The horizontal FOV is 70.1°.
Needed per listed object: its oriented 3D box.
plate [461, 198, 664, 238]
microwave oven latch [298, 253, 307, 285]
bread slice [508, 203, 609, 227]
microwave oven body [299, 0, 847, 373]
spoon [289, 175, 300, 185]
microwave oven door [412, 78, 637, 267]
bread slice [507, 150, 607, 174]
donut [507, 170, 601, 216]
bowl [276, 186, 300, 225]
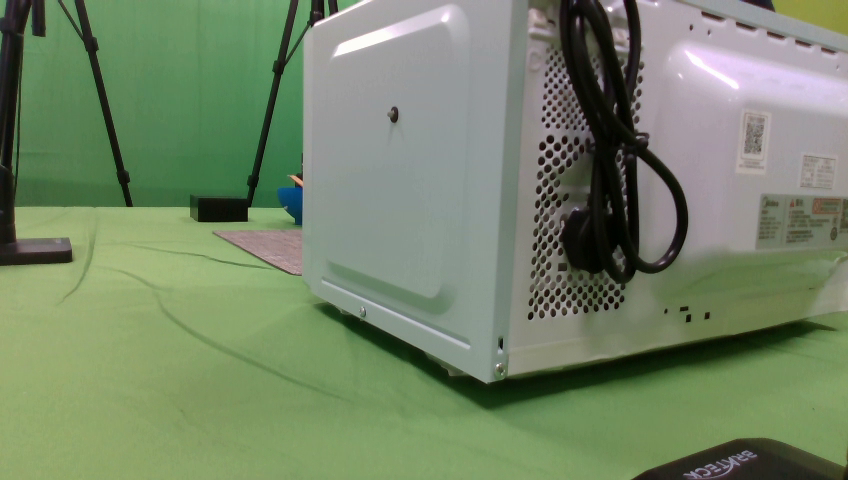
[{"bbox_3d":[0.143,-0.024,0.639,0.208,0.039,0.207,-1,3,0],"label":"plate"},{"bbox_3d":[-0.081,0.027,0.582,0.079,0.029,0.030,-1,7,-32],"label":"microwave oven latch"},{"bbox_3d":[0.142,-0.026,0.631,0.107,0.018,0.134,-5,1,7],"label":"bread slice"},{"bbox_3d":[0.152,-0.055,0.542,0.444,0.260,0.324,-2,7,-33],"label":"microwave oven body"},{"bbox_3d":[-0.261,-0.111,1.342,0.042,0.021,0.192,-8,33,-30],"label":"spoon"},{"bbox_3d":[0.127,-0.104,0.888,0.354,0.243,0.039,8,10,40],"label":"microwave oven door"},{"bbox_3d":[0.139,-0.081,0.628,0.105,0.019,0.132,5,7,12],"label":"bread slice"},{"bbox_3d":[0.137,-0.050,0.639,0.099,0.048,0.099,0,1,0],"label":"donut"},{"bbox_3d":[-0.241,-0.073,1.302,0.151,0.077,0.151,2,7,0],"label":"bowl"}]
